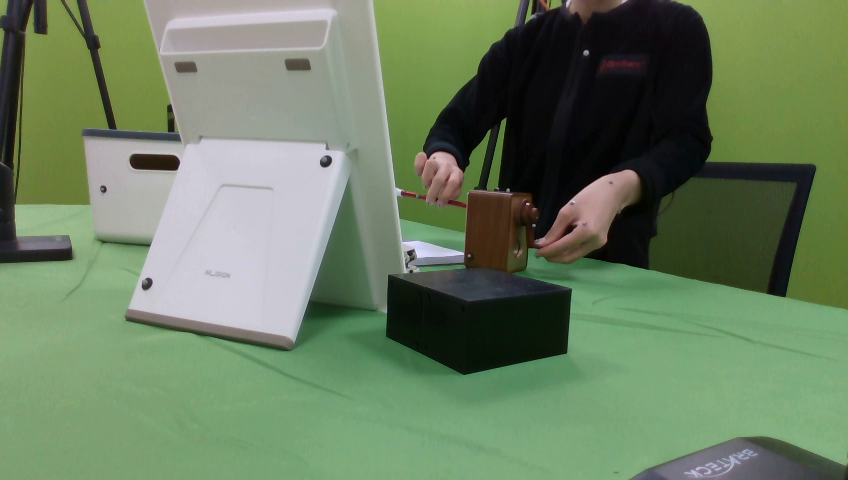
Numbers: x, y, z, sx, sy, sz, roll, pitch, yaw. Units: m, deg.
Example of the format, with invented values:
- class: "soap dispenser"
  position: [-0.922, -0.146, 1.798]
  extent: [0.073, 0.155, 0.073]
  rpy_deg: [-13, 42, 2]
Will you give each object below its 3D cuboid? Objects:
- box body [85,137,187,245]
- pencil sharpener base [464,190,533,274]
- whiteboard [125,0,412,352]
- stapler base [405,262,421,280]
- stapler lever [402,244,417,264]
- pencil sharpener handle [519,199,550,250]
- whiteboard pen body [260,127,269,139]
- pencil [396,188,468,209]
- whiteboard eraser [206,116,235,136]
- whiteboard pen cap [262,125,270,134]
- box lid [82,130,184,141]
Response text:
- class: "box body"
  position: [-0.340, -0.088, 1.022]
  extent: [0.254, 0.160, 0.364]
  rpy_deg: [4, 7, 11]
- class: "pencil sharpener base"
  position: [0.102, -0.012, 0.812]
  extent: [0.076, 0.107, 0.061]
  rpy_deg: [8, 8, 36]
- class: "whiteboard"
  position: [-0.151, -0.049, 0.472]
  extent: [0.216, 0.305, 0.144]
  rpy_deg: [6, 27, 24]
- class: "stapler base"
  position: [-0.069, 0.027, 0.759]
  extent: [0.130, 0.024, 0.041]
  rpy_deg: [9, 14, 23]
- class: "stapler lever"
  position: [-0.066, 0.003, 0.755]
  extent: [0.117, 0.040, 0.027]
  rpy_deg: [9, 13, 23]
- class: "pencil sharpener handle"
  position: [0.146, -0.019, 0.784]
  extent: [0.030, 0.068, 0.036]
  rpy_deg: [8, 25, 37]
- class: "whiteboard pen body"
  position: [-0.366, -0.247, 1.392]
  extent: [0.017, 0.017, 0.140]
  rpy_deg: [0, 3, -17]
- class: "pencil"
  position: [0.020, -0.058, 0.875]
  extent: [0.193, 0.012, 0.012]
  rpy_deg: [14, 13, 37]
- class: "whiteboard eraser"
  position: [-0.450, -0.252, 1.335]
  extent: [0.056, 0.042, 0.112]
  rpy_deg: [1, 7, -22]
- class: "whiteboard pen cap"
  position: [-0.349, -0.244, 1.336]
  extent: [0.018, 0.018, 0.033]
  rpy_deg: [0, 2, -17]
- class: "box lid"
  position: [-0.337, -0.161, 1.011]
  extent: [0.263, 0.015, 0.372]
  rpy_deg: [4, 6, 11]
